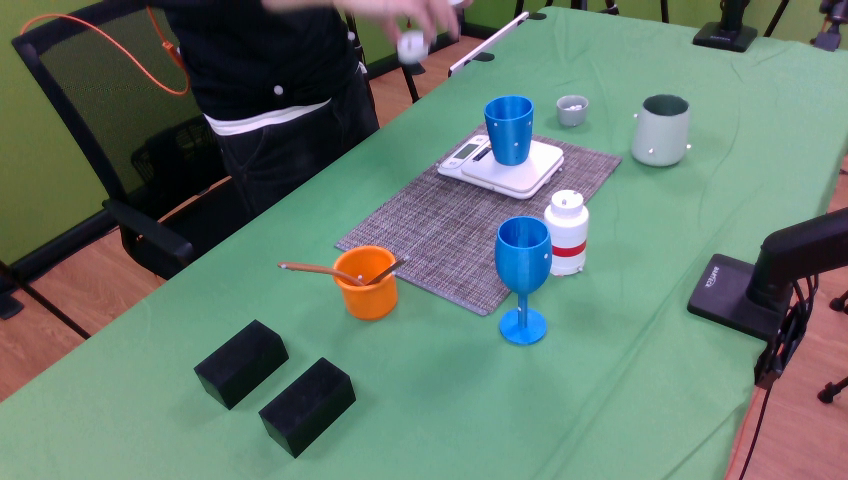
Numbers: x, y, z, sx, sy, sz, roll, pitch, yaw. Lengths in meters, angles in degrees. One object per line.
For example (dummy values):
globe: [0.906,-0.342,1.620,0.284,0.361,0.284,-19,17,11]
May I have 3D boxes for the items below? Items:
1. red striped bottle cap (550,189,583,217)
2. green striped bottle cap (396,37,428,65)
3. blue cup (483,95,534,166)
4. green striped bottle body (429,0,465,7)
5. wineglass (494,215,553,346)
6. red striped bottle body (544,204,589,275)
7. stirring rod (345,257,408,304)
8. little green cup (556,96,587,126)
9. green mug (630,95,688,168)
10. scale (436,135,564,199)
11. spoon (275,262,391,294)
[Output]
red striped bottle cap: [0.199,-0.052,0.843,0.044,0.018,0.044,-2,42,2]
green striped bottle cap: [-0.017,-0.272,0.867,0.044,0.020,0.044,-6,47,7]
blue cup: [0.149,-0.186,1.051,0.092,0.101,0.092,-6,40,6]
green striped bottle body: [0.030,-0.424,0.918,0.063,0.120,0.063,-6,44,6]
wineglass: [0.127,0.055,0.770,0.074,0.173,0.073,-4,40,4]
red striped bottle body: [0.206,-0.011,0.878,0.063,0.120,0.062,-5,41,5]
stirring rod: [-0.067,0.057,0.815,0.014,0.175,0.006,-24,82,-38]
little green cup: [0.295,-0.258,1.214,0.061,0.039,0.061,-4,42,4]
green mug: [0.421,-0.201,1.081,0.092,0.105,0.125,5,42,15]
scale: [0.137,-0.142,1.101,0.199,0.032,0.149,22,48,30]
spoon: [-0.120,0.050,0.830,0.041,0.195,0.021,32,97,45]
